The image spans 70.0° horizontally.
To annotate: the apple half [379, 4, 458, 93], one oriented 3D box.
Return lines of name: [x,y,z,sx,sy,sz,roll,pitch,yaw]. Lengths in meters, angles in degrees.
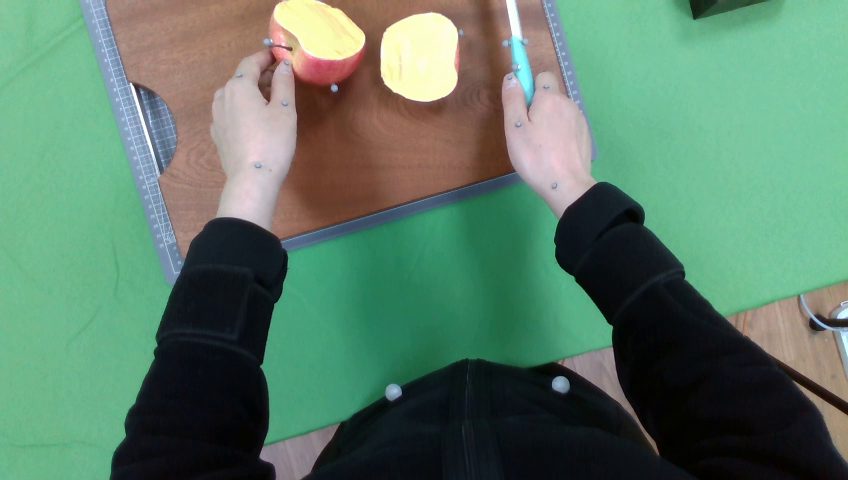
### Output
apple half: [-0.003,-0.177,0.564,0.081,0.032,0.081,2,104,9]

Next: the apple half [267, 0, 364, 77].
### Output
apple half: [-0.099,-0.179,0.544,0.080,0.053,0.074,43,51,10]

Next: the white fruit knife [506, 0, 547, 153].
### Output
white fruit knife: [0.084,-0.180,0.543,0.016,0.027,0.207,-10,92,32]
